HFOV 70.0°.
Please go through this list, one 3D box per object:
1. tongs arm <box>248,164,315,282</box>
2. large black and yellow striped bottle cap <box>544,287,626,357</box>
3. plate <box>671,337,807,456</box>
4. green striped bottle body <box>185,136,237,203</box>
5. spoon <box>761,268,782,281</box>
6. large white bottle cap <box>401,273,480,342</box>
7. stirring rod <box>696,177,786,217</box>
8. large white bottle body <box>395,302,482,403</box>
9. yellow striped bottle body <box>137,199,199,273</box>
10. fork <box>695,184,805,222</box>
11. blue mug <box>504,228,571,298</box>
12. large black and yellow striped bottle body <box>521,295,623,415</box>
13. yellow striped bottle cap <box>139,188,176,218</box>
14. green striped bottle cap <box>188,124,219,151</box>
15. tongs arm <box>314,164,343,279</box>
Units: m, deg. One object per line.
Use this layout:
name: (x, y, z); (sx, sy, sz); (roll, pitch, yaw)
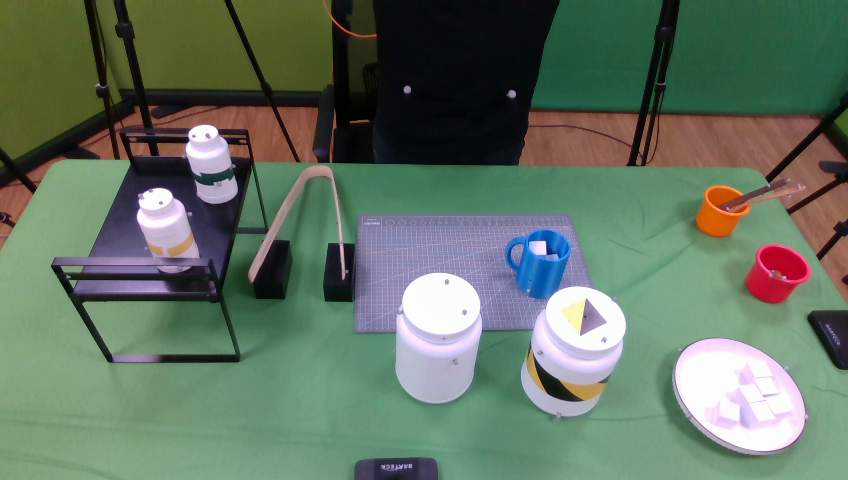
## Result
tongs arm: (-0.270, -0.047, 1.165); (0.028, 0.028, 0.385); (-1, 34, 7)
large black and yellow striped bottle cap: (0.232, 0.116, 0.876); (0.115, 0.019, 0.114); (2, 46, -1)
plate: (0.503, 0.254, 0.984); (0.208, 0.039, 0.206); (2, 46, -2)
green striped bottle body: (-0.341, -0.122, 0.969); (0.063, 0.120, 0.063); (2, 46, -2)
spoon: (0.638, 0.060, 1.105); (0.041, 0.021, 0.194); (38, 11, 24)
large white bottle cap: (0.024, 0.095, 0.878); (0.115, 0.018, 0.114); (2, 47, -2)
stirring rod: (0.647, -0.087, 1.244); (0.176, 0.006, 0.014); (-26, 51, 29)
large white bottle body: (0.020, 0.153, 0.940); (0.131, 0.185, 0.130); (2, 46, -2)
yellow striped bottle body: (-0.366, -0.014, 0.863); (0.063, 0.121, 0.062); (2, 46, -2)
fork: (0.657, -0.074, 1.229); (0.207, 0.019, 0.028); (-24, 33, 36)
blue mug: (0.202, 0.036, 1.116); (0.116, 0.106, 0.082); (22, 49, 16)
large black and yellow striped bottle body: (0.228, 0.173, 0.938); (0.131, 0.185, 0.130); (2, 47, -2)
yellow striped bottle cap: (-0.363, -0.051, 0.826); (0.044, 0.019, 0.044); (1, 47, 0)
green striped bottle cap: (-0.339, -0.158, 0.931); (0.044, 0.020, 0.044); (3, 46, -3)
tongs arm: (-0.188, -0.049, 1.170); (0.051, 0.026, 0.382); (-6, 35, -6)
